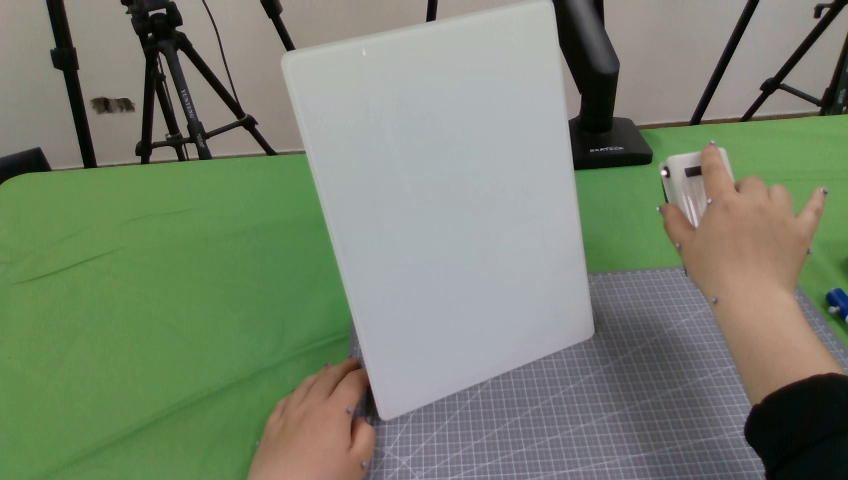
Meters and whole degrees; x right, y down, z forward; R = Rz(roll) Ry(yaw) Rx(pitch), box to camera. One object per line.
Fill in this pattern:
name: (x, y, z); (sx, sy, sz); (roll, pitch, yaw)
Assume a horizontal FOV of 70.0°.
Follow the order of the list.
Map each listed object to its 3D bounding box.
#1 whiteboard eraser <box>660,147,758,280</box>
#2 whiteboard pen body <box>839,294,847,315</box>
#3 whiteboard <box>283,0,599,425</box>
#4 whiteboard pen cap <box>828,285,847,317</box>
whiteboard eraser: (0.249, -0.023, 0.534); (0.055, 0.042, 0.112); (-9, 77, 6)
whiteboard pen body: (0.402, 0.094, 0.525); (0.017, 0.017, 0.139); (-5, 38, 1)
whiteboard: (0.012, -0.034, 0.546); (0.217, 0.307, 0.142); (-18, 20, -15)
whiteboard pen cap: (0.399, 0.058, 0.571); (0.018, 0.018, 0.033); (-5, 37, 0)
